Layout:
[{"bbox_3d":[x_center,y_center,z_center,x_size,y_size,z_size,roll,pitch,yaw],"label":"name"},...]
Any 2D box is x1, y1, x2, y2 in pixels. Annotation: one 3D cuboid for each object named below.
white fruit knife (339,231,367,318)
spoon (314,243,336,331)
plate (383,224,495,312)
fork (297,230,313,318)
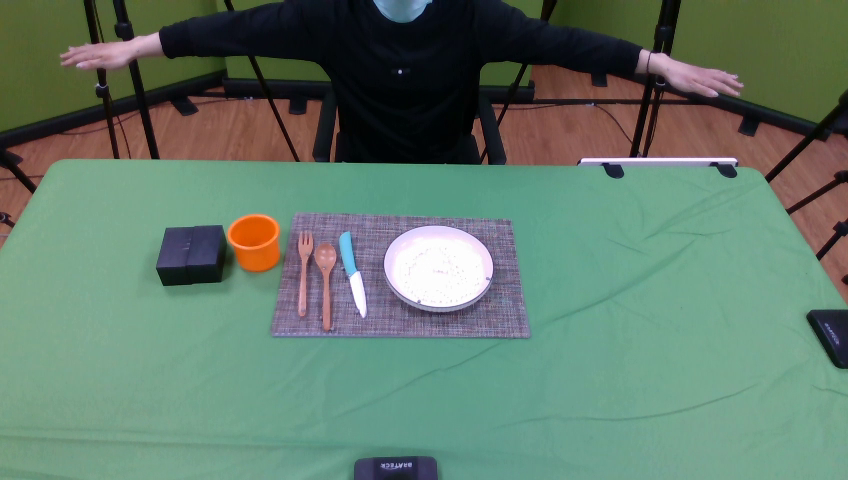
[{"bbox_3d":[-0.132,0.062,1.125,0.027,0.016,0.206,-18,49,-3],"label":"white fruit knife"},{"bbox_3d":[-0.179,0.082,1.098,0.042,0.022,0.192,8,44,-17],"label":"spoon"},{"bbox_3d":[0.026,0.055,1.128,0.209,0.038,0.208,2,46,-2],"label":"plate"},{"bbox_3d":[-0.223,0.058,1.121,0.028,0.019,0.206,4,44,-11],"label":"fork"}]
